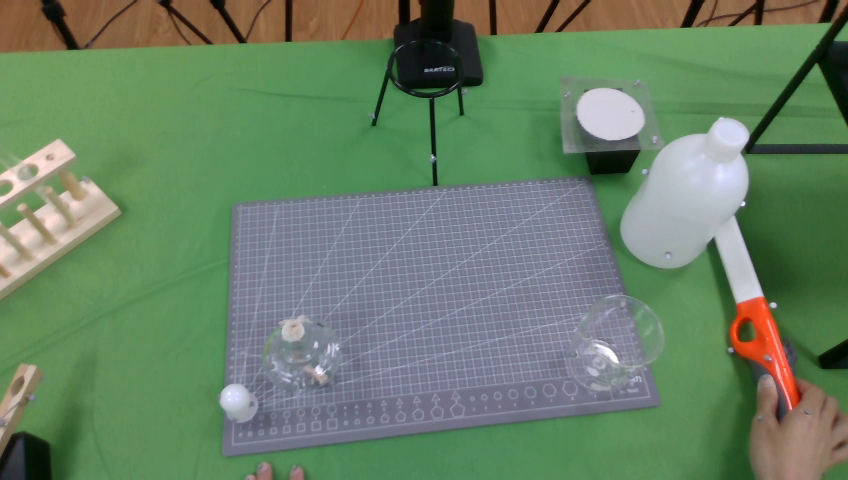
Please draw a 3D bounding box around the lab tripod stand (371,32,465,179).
[{"bbox_3d":[0.002,-0.170,0.743,0.148,0.132,0.147,2,62,-3],"label":"lab tripod stand"}]

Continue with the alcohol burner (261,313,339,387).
[{"bbox_3d":[-0.123,0.102,0.594,0.078,0.120,0.077,2,59,-3],"label":"alcohol burner"}]

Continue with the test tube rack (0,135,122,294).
[{"bbox_3d":[-0.466,-0.002,0.654,0.066,0.086,0.242,40,66,18],"label":"test tube rack"}]

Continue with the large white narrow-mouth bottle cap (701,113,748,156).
[{"bbox_3d":[0.289,-0.102,0.584,0.038,0.024,0.037,1,60,-2],"label":"large white narrow-mouth bottle cap"}]

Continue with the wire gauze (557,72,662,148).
[{"bbox_3d":[0.231,-0.165,0.766,0.121,0.011,0.124,2,60,-1],"label":"wire gauze"}]

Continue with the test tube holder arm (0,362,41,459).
[{"bbox_3d":[-0.382,0.193,0.533,0.013,0.015,0.177,-1,58,11],"label":"test tube holder arm"}]

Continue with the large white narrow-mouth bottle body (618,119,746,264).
[{"bbox_3d":[0.286,-0.058,0.659,0.102,0.196,0.101,1,60,-1],"label":"large white narrow-mouth bottle body"}]

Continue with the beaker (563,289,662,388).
[{"bbox_3d":[0.183,0.105,0.615,0.084,0.101,0.073,0,60,-1],"label":"beaker"}]

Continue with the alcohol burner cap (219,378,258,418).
[{"bbox_3d":[-0.186,0.155,0.602,0.034,0.048,0.033,1,61,-1],"label":"alcohol burner cap"}]

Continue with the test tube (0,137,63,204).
[{"bbox_3d":[-0.431,-0.081,0.643,0.017,0.151,0.017,-1,63,2],"label":"test tube"}]

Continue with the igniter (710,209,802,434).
[{"bbox_3d":[0.361,0.074,0.675,0.057,0.025,0.274,-23,52,31],"label":"igniter"}]

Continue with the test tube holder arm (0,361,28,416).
[{"bbox_3d":[-0.384,0.155,0.557,0.010,0.015,0.087,0,58,13],"label":"test tube holder arm"}]
